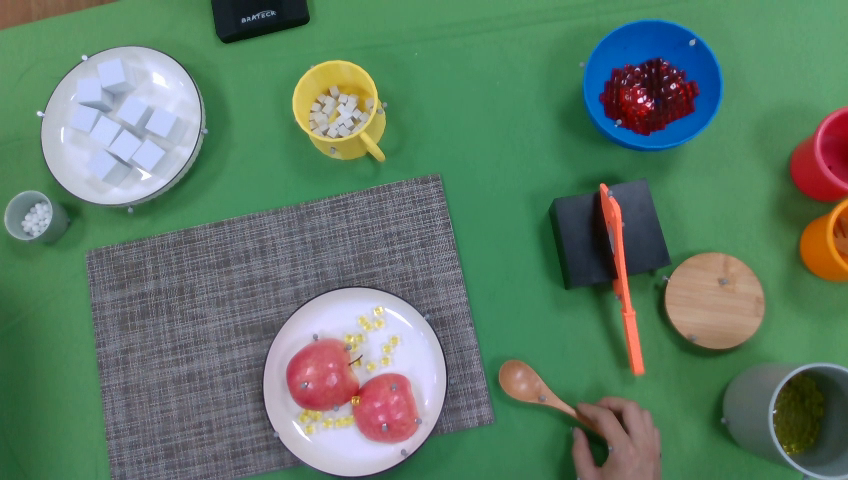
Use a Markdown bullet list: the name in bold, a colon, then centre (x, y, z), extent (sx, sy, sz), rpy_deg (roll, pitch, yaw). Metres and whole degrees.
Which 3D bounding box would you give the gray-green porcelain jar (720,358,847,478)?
- **gray-green porcelain jar**: centre (0.369, 0.172, 0.610), extent (0.106, 0.127, 0.105), rpy_deg (-1, 80, 4)

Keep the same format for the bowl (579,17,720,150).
- **bowl**: centre (0.250, -0.167, 0.698), extent (0.151, 0.077, 0.151), rpy_deg (-1, 81, 4)

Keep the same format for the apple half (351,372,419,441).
- **apple half**: centre (-0.046, 0.187, 0.672), extent (0.081, 0.033, 0.081), rpy_deg (-1, 77, 5)

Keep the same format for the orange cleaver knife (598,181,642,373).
- **orange cleaver knife**: centre (0.214, 0.041, 0.665), extent (0.012, 0.077, 0.212), rpy_deg (-11, 104, 5)

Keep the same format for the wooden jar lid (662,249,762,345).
- **wooden jar lid**: centre (0.323, 0.065, 0.685), extent (0.108, 0.021, 0.108), rpy_deg (-1, 81, 5)

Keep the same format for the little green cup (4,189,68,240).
- **little green cup**: centre (-0.475, -0.029, 0.746), extent (0.061, 0.039, 0.061), rpy_deg (0, 81, 2)

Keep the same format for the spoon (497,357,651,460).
- **spoon**: centre (0.167, 0.191, 0.674), extent (0.193, 0.022, 0.041), rpy_deg (30, 68, 8)

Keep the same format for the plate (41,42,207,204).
- **plate**: centre (-0.369, -0.144, 0.759), extent (0.207, 0.039, 0.207), rpy_deg (-1, 81, 4)

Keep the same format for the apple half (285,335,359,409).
- **apple half**: centre (-0.117, 0.148, 0.674), extent (0.074, 0.053, 0.080), rpy_deg (-16, 81, 4)

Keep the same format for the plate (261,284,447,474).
- **plate**: centre (-0.078, 0.154, 0.686), extent (0.209, 0.038, 0.208), rpy_deg (-1, 81, 4)

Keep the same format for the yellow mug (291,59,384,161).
- **yellow mug**: centre (-0.092, -0.145, 0.725), extent (0.100, 0.064, 0.130), rpy_deg (-41, 81, -4)

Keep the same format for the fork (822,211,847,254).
- **fork**: centre (0.454, 0.036, 0.614), extent (0.028, 0.019, 0.205), rpy_deg (5, 38, 4)
